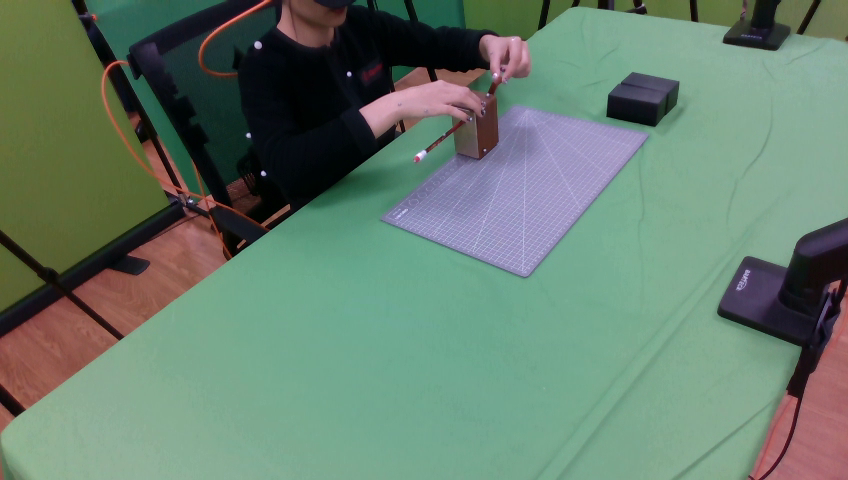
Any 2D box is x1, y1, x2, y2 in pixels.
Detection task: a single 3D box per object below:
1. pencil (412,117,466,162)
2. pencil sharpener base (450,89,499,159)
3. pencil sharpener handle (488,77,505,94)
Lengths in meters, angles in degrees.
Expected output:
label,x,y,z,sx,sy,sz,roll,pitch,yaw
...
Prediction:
label,x,y,z,sx,sy,sz,roll,pitch,yaw
pencil,0.042,-0.193,1.091,0.012,0.012,0.194,24,51,33
pencil sharpener base,0.100,-0.222,1.154,0.061,0.107,0.077,21,49,32
pencil sharpener handle,0.132,-0.280,1.153,0.036,0.067,0.031,43,56,5
